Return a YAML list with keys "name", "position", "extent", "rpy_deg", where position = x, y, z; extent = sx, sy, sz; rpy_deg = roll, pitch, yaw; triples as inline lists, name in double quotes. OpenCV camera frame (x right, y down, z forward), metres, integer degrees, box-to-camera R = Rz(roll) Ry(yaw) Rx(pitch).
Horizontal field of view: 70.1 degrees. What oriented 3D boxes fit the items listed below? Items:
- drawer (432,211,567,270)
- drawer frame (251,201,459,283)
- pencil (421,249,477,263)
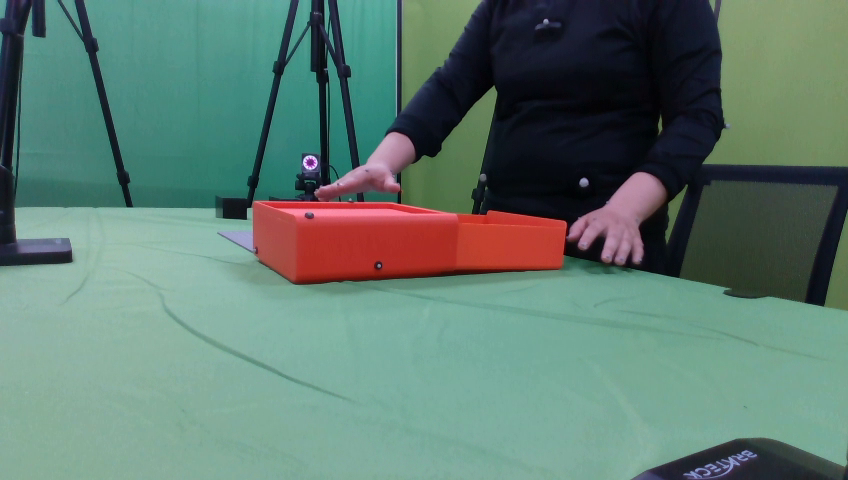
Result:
- name: "drawer"
  position: [0.063, -0.005, 0.879]
  extent: [0.213, 0.073, 0.193]
  rpy_deg: [1, 7, -30]
- name: "drawer frame"
  position: [-0.095, -0.006, 0.788]
  extent: [0.215, 0.082, 0.200]
  rpy_deg: [-3, 10, -30]
- name: "pencil"
  position: [0.042, 0.021, 0.876]
  extent: [0.012, 0.012, 0.195]
  rpy_deg: [6, 5, 26]
